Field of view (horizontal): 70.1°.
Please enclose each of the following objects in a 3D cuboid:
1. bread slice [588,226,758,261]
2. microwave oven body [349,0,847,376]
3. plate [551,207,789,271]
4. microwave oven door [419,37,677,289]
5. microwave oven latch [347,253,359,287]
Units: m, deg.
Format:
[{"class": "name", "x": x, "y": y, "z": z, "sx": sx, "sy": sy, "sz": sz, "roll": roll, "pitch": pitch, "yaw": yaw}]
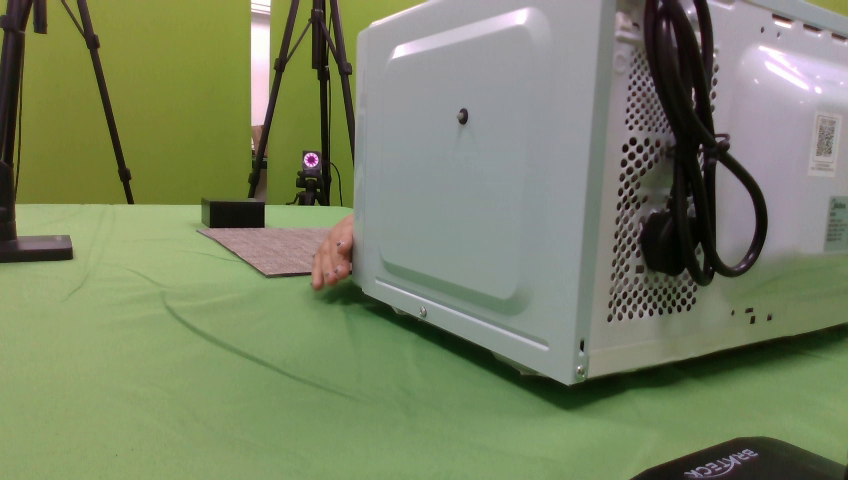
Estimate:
[{"class": "bread slice", "x": 0.225, "y": 0.002, "z": 0.569, "sx": 0.132, "sy": 0.019, "sz": 0.104, "roll": 5, "pitch": 4, "yaw": -23}, {"class": "microwave oven body", "x": 0.199, "y": -0.053, "z": 0.539, "sx": 0.444, "sy": 0.260, "sz": 0.324, "roll": -1, "pitch": 8, "yaw": -32}, {"class": "plate", "x": 0.224, "y": -0.003, "z": 0.572, "sx": 0.209, "sy": 0.038, "sz": 0.209, "roll": 3, "pitch": 8, "yaw": 0}, {"class": "microwave oven door", "x": 0.159, "y": -0.078, "z": 0.684, "sx": 0.358, "sy": 0.243, "sz": 0.039, "roll": -2, "pitch": 9, "yaw": -32}, {"class": "microwave oven latch", "x": -0.034, "y": 0.028, "z": 0.581, "sx": 0.079, "sy": 0.029, "sz": 0.030, "roll": -1, "pitch": 7, "yaw": -32}]
